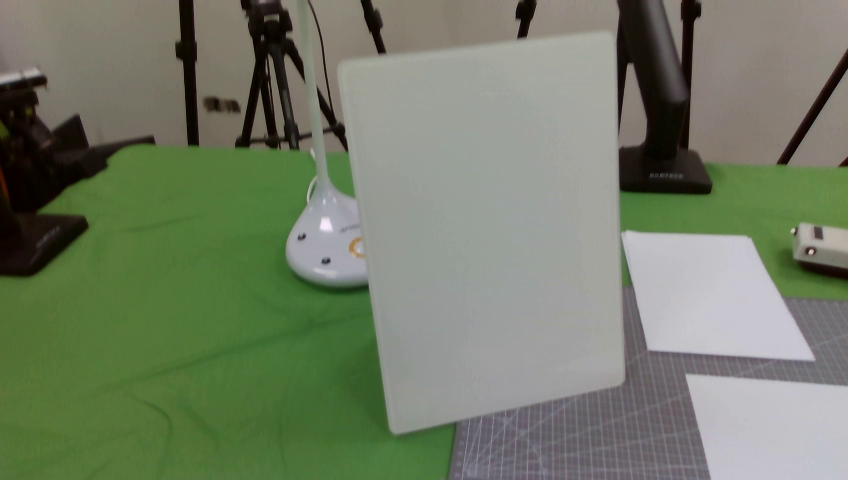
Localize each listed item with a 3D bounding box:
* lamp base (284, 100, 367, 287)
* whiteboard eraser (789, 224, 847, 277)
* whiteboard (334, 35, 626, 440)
[{"bbox_3d":[-0.101,-0.063,0.706,0.161,0.182,0.177,-26,37,-31],"label":"lamp base"},{"bbox_3d":[0.471,0.016,0.672,0.112,0.042,0.055,12,38,21],"label":"whiteboard eraser"},{"bbox_3d":[0.047,-0.011,0.554,0.217,0.307,0.143,-10,15,-9],"label":"whiteboard"}]
